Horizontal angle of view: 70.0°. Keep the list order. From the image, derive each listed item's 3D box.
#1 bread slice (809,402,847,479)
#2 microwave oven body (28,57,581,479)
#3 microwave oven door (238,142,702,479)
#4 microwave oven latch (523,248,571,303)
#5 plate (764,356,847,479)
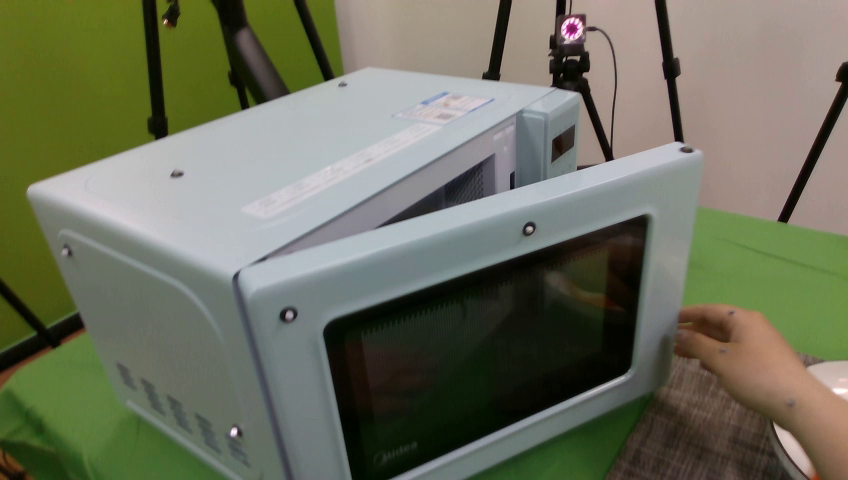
[{"bbox_3d":[0.386,0.175,0.492,0.104,0.019,0.131,19,37,35],"label":"bread slice"},{"bbox_3d":[-0.083,0.000,0.638,0.323,0.262,0.441,18,37,33],"label":"microwave oven body"},{"bbox_3d":[0.060,0.076,0.474,0.357,0.246,0.039,-17,32,-21],"label":"microwave oven door"},{"bbox_3d":[0.148,0.042,0.728,0.030,0.030,0.079,19,38,34],"label":"microwave oven latch"},{"bbox_3d":[0.389,0.174,0.490,0.209,0.038,0.207,-4,29,2],"label":"plate"}]
